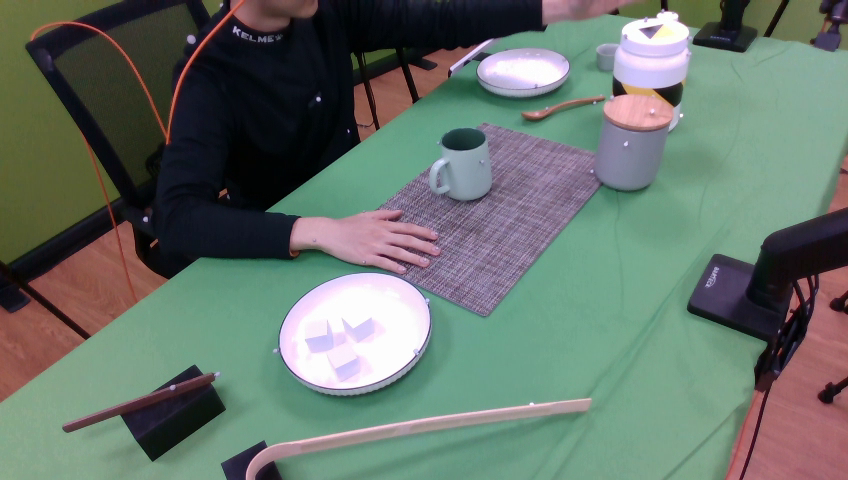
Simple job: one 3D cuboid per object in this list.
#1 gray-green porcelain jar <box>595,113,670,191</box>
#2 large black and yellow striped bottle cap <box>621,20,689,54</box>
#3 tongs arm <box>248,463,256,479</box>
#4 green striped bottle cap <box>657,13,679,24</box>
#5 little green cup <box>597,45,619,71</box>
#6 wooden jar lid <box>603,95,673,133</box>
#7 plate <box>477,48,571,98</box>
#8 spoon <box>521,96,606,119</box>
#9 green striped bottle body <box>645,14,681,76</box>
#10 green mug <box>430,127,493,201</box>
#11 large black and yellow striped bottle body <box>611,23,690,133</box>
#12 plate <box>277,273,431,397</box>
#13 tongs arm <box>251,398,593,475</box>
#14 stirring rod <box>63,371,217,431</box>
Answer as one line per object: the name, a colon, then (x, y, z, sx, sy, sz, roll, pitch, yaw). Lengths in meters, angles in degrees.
gray-green porcelain jar: (0.346, -0.155, 1.017, 0.106, 0.127, 0.105, -2, 44, 2)
large black and yellow striped bottle cap: (0.411, -0.363, 1.080, 0.115, 0.019, 0.114, -4, 42, 4)
tongs arm: (0.012, 0.262, 0.615, 0.385, 0.026, 0.050, 2, 42, -2)
green striped bottle cap: (0.515, -0.463, 1.278, 0.044, 0.020, 0.044, -6, 42, 6)
little green cup: (0.423, -0.413, 1.376, 0.061, 0.039, 0.061, -3, 42, 3)
wooden jar lid: (0.343, -0.200, 0.974, 0.108, 0.021, 0.108, -2, 39, 2)
plate: (0.223, -0.371, 1.357, 0.209, 0.038, 0.208, -4, 41, 4)
spoon: (0.291, -0.276, 1.249, 0.194, 0.022, 0.041, -18, 24, -12)
green striped bottle body: (0.520, -0.424, 1.312, 0.063, 0.120, 0.063, -4, 41, 4)
green mug: (0.059, -0.122, 1.034, 0.126, 0.105, 0.091, -35, 48, -28)
large black and yellow striped bottle body: (0.420, -0.299, 1.132, 0.131, 0.185, 0.130, -4, 41, 4)
plate: (-0.092, 0.129, 0.821, 0.207, 0.039, 0.206, -4, 40, 4)
tongs arm: (0.008, 0.212, 0.675, 0.389, 0.028, 0.028, -5, 46, -11)
stirring rod: (-0.337, 0.192, 0.723, 0.177, 0.014, 0.005, -18, 43, -12)
